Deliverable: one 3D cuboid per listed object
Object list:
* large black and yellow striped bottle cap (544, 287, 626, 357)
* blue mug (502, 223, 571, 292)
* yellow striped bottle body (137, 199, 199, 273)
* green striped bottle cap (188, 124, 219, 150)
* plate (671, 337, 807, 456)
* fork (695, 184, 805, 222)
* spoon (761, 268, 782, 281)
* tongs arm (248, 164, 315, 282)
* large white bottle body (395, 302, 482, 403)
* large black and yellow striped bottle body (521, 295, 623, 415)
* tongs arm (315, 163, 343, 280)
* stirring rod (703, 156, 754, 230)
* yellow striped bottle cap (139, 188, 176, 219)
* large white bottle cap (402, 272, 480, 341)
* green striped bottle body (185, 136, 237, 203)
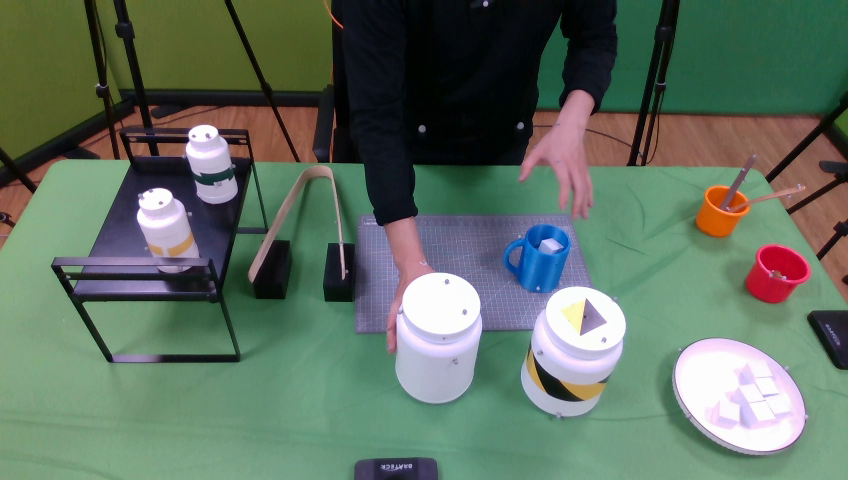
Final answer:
[{"bbox_3d":[0.232,0.116,0.876,0.115,0.019,0.114,2,46,-1],"label":"large black and yellow striped bottle cap"},{"bbox_3d":[0.203,0.031,1.121,0.116,0.106,0.082,5,47,1],"label":"blue mug"},{"bbox_3d":[-0.366,-0.014,0.863,0.063,0.121,0.062,2,46,-2],"label":"yellow striped bottle body"},{"bbox_3d":[-0.339,-0.158,0.931,0.044,0.020,0.044,3,46,-3],"label":"green striped bottle cap"},{"bbox_3d":[0.504,0.253,0.984,0.208,0.039,0.206,2,46,-2],"label":"plate"},{"bbox_3d":[0.657,-0.075,1.230,0.207,0.019,0.028,-23,34,37],"label":"fork"},{"bbox_3d":[0.638,0.060,1.105,0.041,0.021,0.194,38,11,24],"label":"spoon"},{"bbox_3d":[-0.269,-0.048,1.166,0.028,0.028,0.385,-1,35,7],"label":"tongs arm"},{"bbox_3d":[0.020,0.153,0.940,0.131,0.185,0.130,2,46,-2],"label":"large white bottle body"},{"bbox_3d":[0.228,0.173,0.938,0.131,0.185,0.130,2,47,-2],"label":"large black and yellow striped bottle body"},{"bbox_3d":[-0.187,-0.050,1.170,0.051,0.026,0.382,-6,36,-6],"label":"tongs arm"},{"bbox_3d":[0.631,-0.097,1.258,0.014,0.006,0.176,33,95,29],"label":"stirring rod"},{"bbox_3d":[-0.363,-0.050,0.826,0.044,0.019,0.044,0,47,0],"label":"yellow striped bottle cap"},{"bbox_3d":[0.024,0.095,0.878,0.115,0.018,0.114,2,47,-2],"label":"large white bottle cap"},{"bbox_3d":[-0.341,-0.121,0.968,0.063,0.120,0.063,2,46,-2],"label":"green striped bottle body"}]
